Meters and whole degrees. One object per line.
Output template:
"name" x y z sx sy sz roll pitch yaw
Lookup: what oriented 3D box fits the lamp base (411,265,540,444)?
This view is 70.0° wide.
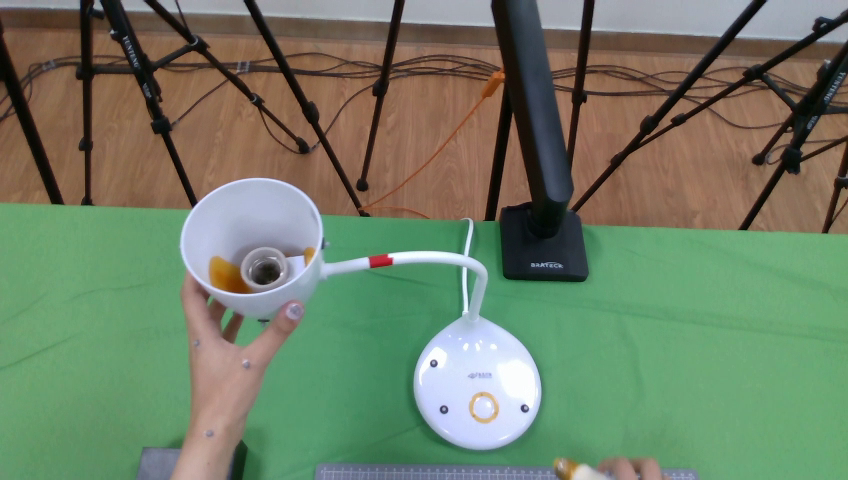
"lamp base" 0.064 0.122 0.700 0.161 0.182 0.177 -11 56 -10

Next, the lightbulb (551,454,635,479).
"lightbulb" 0.182 0.262 0.644 0.106 0.060 0.059 25 56 39

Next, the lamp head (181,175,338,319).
"lamp head" -0.137 0.018 0.539 0.112 0.124 0.111 -1 63 2
